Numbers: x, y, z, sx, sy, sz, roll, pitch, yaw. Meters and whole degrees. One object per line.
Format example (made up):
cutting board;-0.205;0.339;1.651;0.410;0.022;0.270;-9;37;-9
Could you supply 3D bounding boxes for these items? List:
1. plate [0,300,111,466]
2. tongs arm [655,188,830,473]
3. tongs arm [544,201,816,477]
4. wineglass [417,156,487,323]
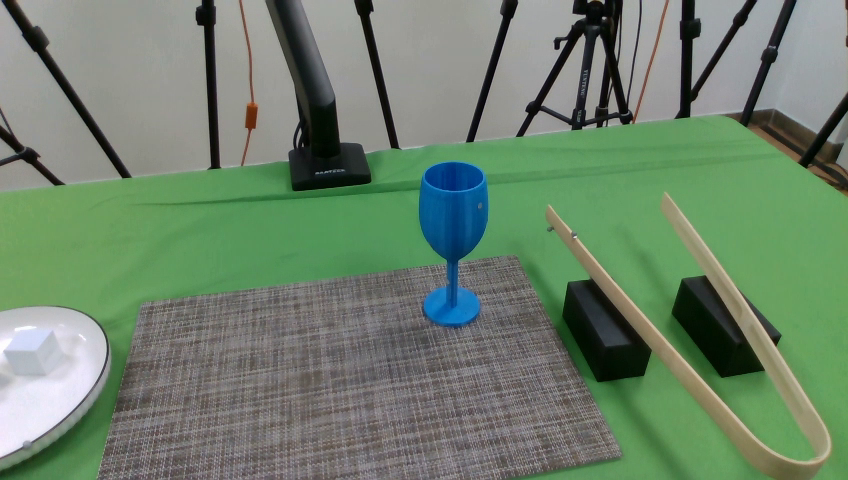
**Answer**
plate;-0.406;0.139;0.575;0.209;0.038;0.207;0;36;0
tongs arm;0.301;0.057;0.614;0.028;0.028;0.383;3;36;-4
tongs arm;0.221;0.066;0.602;0.051;0.027;0.380;-8;37;-13
wineglass;0.028;0.003;0.639;0.074;0.174;0.073;0;37;1
